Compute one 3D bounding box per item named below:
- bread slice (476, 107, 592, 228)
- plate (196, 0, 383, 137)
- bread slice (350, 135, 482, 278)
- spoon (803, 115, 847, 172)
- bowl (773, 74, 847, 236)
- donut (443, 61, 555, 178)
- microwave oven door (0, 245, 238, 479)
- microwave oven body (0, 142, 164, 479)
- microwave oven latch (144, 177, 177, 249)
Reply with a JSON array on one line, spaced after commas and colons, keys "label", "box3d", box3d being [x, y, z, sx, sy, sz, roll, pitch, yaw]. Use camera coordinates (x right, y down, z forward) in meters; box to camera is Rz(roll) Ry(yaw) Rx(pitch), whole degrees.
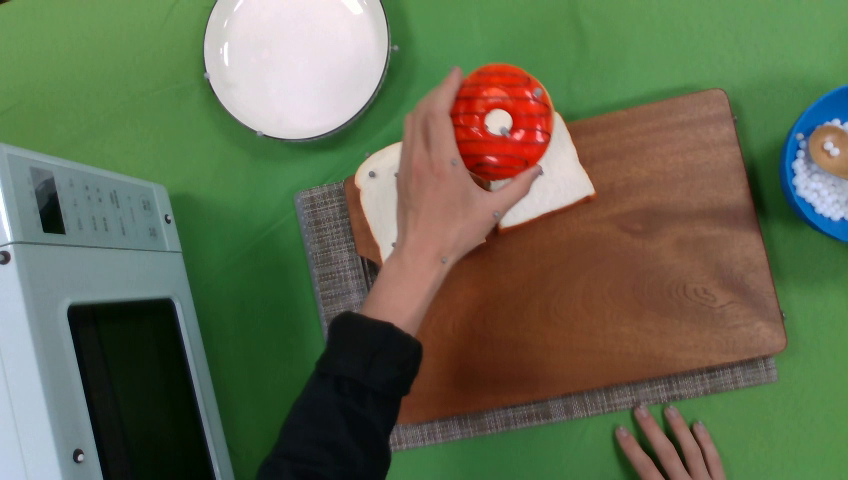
[{"label": "bread slice", "box3d": [0.096, -0.090, 0.614, 0.105, 0.019, 0.131, -23, 86, 4]}, {"label": "plate", "box3d": [-0.144, -0.214, 0.665, 0.207, 0.039, 0.207, 0, 89, 7]}, {"label": "bread slice", "box3d": [-0.017, -0.039, 0.625, 0.107, 0.018, 0.134, -27, 84, 5]}, {"label": "spoon", "box3d": [0.420, -0.040, 0.541, 0.041, 0.022, 0.192, -39, 67, 8]}, {"label": "bowl", "box3d": [0.400, -0.075, 0.576, 0.151, 0.077, 0.151, 0, 89, 7]}, {"label": "donut", "box3d": [0.065, -0.104, 0.527, 0.099, 0.048, 0.099, 2, 100, 16]}, {"label": "microwave oven door", "box3d": [-0.254, 0.180, 0.548, 0.039, 0.244, 0.355, -16, 86, 7]}, {"label": "microwave oven body", "box3d": [-0.405, 0.178, 0.571, 0.326, 0.260, 0.441, -15, 87, 6]}, {"label": "microwave oven latch", "box3d": [-0.296, -0.027, 0.661, 0.030, 0.029, 0.079, -14, 88, 6]}]
